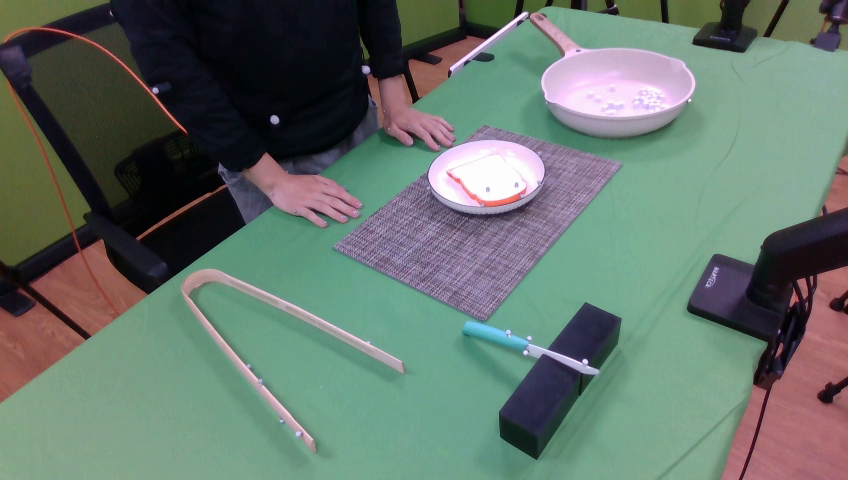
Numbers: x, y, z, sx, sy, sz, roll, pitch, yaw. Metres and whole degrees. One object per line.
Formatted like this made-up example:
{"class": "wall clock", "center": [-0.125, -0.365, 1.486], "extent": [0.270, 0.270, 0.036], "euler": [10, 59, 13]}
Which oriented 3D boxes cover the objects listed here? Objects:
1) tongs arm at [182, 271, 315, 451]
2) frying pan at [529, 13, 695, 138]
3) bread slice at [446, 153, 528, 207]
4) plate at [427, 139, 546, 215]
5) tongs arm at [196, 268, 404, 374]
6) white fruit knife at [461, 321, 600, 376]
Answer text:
{"class": "tongs arm", "center": [-0.241, 0.148, 0.820], "extent": [0.051, 0.026, 0.381], "euler": [-34, 46, -29]}
{"class": "frying pan", "center": [0.348, -0.368, 1.282], "extent": [0.308, 0.103, 0.484], "euler": [-16, 50, -12]}
{"class": "bread slice", "center": [0.117, -0.104, 1.057], "extent": [0.107, 0.018, 0.133], "euler": [-24, 41, -18]}
{"class": "plate", "center": [0.109, -0.106, 1.058], "extent": [0.207, 0.039, 0.206], "euler": [-4, 40, 4]}
{"class": "tongs arm", "center": [-0.187, 0.108, 0.865], "extent": [0.385, 0.028, 0.028], "euler": [20, 50, 28]}
{"class": "white fruit knife", "center": [0.126, 0.133, 0.752], "extent": [0.205, 0.027, 0.016], "euler": [13, 44, 42]}
